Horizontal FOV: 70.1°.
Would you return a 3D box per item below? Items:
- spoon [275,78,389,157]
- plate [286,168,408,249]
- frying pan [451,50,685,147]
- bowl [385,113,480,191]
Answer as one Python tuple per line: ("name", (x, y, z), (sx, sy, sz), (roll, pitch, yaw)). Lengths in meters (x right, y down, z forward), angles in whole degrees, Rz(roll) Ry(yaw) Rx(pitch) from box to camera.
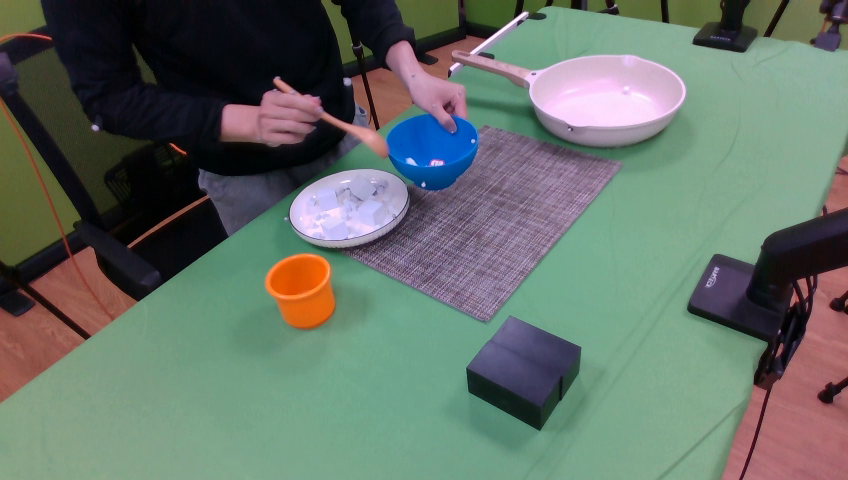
("spoon", (-0.131, -0.179, 0.885), (0.195, 0.021, 0.041), (27, 42, -18))
("plate", (-0.127, -0.050, 1.028), (0.207, 0.039, 0.206), (-5, 39, 5))
("frying pan", (0.269, -0.316, 1.233), (0.485, 0.103, 0.307), (26, 49, 21))
("bowl", (0.016, -0.133, 0.977), (0.151, 0.077, 0.150), (-3, 42, 3))
